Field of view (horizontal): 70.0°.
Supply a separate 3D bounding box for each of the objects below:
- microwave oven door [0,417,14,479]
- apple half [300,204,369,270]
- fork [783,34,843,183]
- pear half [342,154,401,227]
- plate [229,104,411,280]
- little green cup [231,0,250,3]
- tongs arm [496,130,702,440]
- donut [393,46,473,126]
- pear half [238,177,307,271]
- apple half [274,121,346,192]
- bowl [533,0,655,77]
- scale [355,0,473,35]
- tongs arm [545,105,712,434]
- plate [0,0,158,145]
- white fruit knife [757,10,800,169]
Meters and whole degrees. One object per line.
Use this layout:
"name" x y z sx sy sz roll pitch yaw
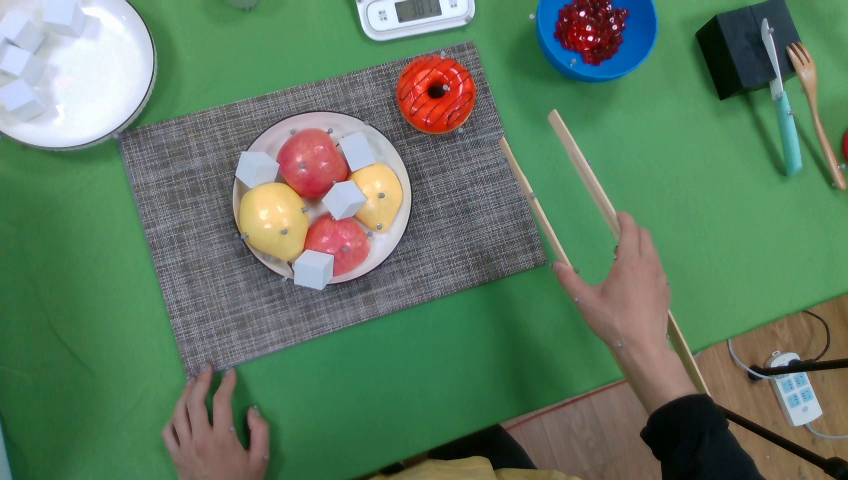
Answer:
"microwave oven door" -0.475 0.127 0.539 0.039 0.244 0.355 -15 85 -8
"apple half" -0.106 -0.005 0.704 0.081 0.033 0.081 1 78 -5
"fork" 0.512 -0.169 0.791 0.028 0.018 0.208 -27 103 -10
"pear half" -0.064 -0.060 0.717 0.070 0.031 0.087 -15 82 5
"plate" -0.120 -0.056 0.717 0.209 0.038 0.208 1 83 -7
"little green cup" -0.228 -0.323 0.738 0.061 0.038 0.061 1 83 -6
"tongs arm" 0.186 0.045 0.655 0.051 0.026 0.384 -26 86 -10
"donut" 0.011 -0.189 0.743 0.099 0.048 0.099 0 85 -4
"pear half" -0.165 -0.018 0.686 0.076 0.056 0.110 -24 90 -16
"apple half" -0.135 -0.098 0.702 0.074 0.053 0.081 -30 90 -6
"bowl" 0.201 -0.268 0.760 0.151 0.077 0.151 1 84 -6
"scale" -0.027 -0.369 0.769 0.149 0.031 0.200 -13 86 -7
"tongs arm" 0.220 0.027 0.660 0.028 0.028 0.386 -25 86 -13
"plate" -0.415 -0.209 0.705 0.208 0.039 0.207 1 83 -6
"white fruit knife" 0.454 -0.191 0.779 0.016 0.027 0.208 -20 100 -8
